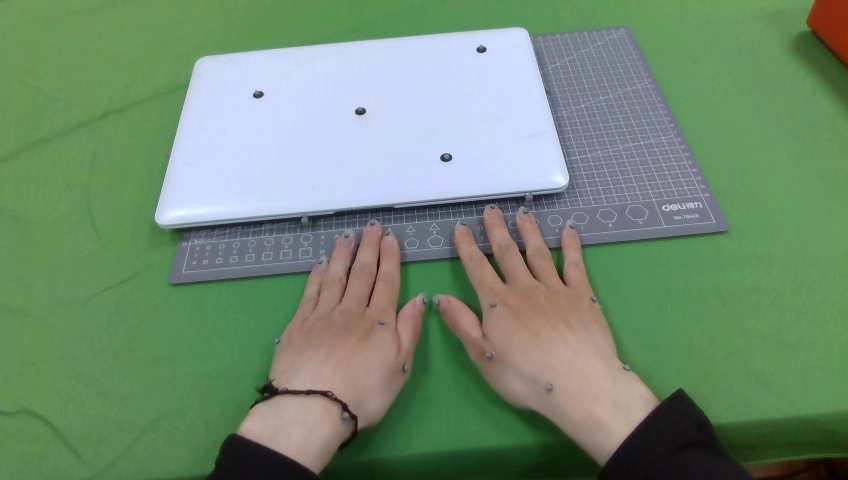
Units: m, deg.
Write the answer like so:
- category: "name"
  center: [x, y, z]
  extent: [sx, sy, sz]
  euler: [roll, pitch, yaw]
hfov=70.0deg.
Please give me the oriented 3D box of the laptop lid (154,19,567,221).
- category: "laptop lid"
  center: [-0.061, -0.124, 0.571]
  extent: [0.357, 0.013, 0.239]
  euler: [-4, 54, 1]

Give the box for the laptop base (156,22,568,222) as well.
- category: "laptop base"
  center: [-0.060, -0.119, 0.582]
  extent: [0.354, 0.023, 0.233]
  euler: [-5, 55, 0]

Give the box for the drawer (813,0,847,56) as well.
- category: "drawer"
  center: [0.512, -0.190, 0.556]
  extent: [0.194, 0.074, 0.209]
  euler: [-9, 51, -2]

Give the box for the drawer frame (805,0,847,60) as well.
- category: "drawer frame"
  center: [0.511, -0.192, 0.557]
  extent: [0.202, 0.083, 0.211]
  euler: [-10, 51, -3]
